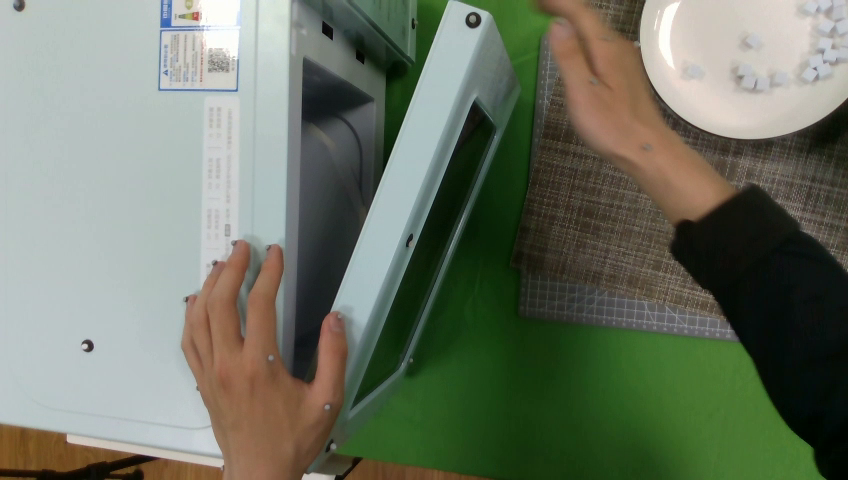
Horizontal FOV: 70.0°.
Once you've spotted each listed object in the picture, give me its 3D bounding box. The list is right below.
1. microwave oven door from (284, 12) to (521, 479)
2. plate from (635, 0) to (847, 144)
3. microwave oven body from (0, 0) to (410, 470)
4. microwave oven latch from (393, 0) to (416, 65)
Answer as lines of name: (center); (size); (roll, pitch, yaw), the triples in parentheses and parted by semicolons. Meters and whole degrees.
microwave oven door: (-0.006, 0.007, 0.540); (0.039, 0.244, 0.356); (23, 97, 12)
plate: (0.309, -0.192, 0.574); (0.208, 0.038, 0.209); (0, 91, 13)
microwave oven body: (-0.199, -0.055, 0.588); (0.325, 0.260, 0.442); (3, 94, 13)
microwave oven latch: (-0.024, -0.227, 0.637); (0.030, 0.029, 0.079); (3, 94, 13)
